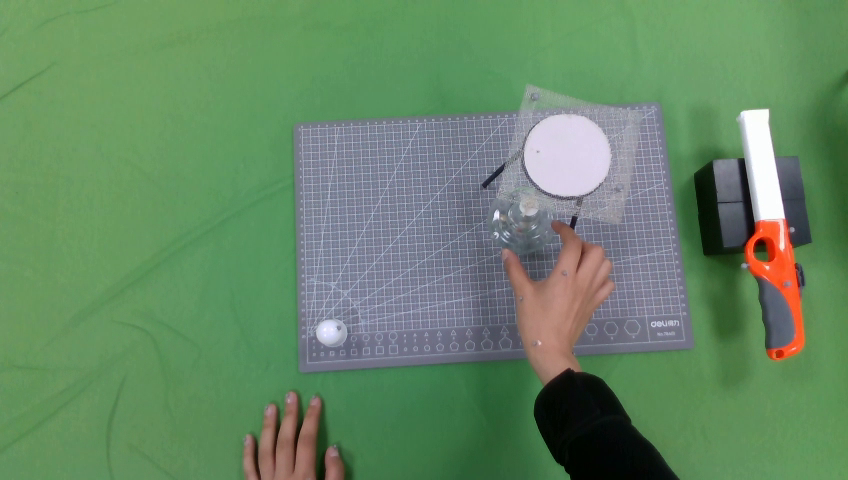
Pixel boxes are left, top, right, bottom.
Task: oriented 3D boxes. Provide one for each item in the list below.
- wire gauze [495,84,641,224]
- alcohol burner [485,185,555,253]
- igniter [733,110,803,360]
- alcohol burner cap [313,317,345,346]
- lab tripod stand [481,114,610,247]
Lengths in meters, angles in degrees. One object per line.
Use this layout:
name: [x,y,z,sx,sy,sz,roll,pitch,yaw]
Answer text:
wire gauze: [0.143,-0.085,0.594,0.121,0.011,0.124,15,79,2]
alcohol burner: [0.107,-0.026,0.662,0.078,0.119,0.077,0,81,1]
igniter: [0.373,-0.010,0.661,0.057,0.025,0.275,-3,79,5]
alcohol burner cap: [-0.107,0.101,0.672,0.034,0.048,0.033,0,79,-1]
lab tripod stand: [0.140,-0.074,0.661,0.148,0.132,0.147,0,77,0]
